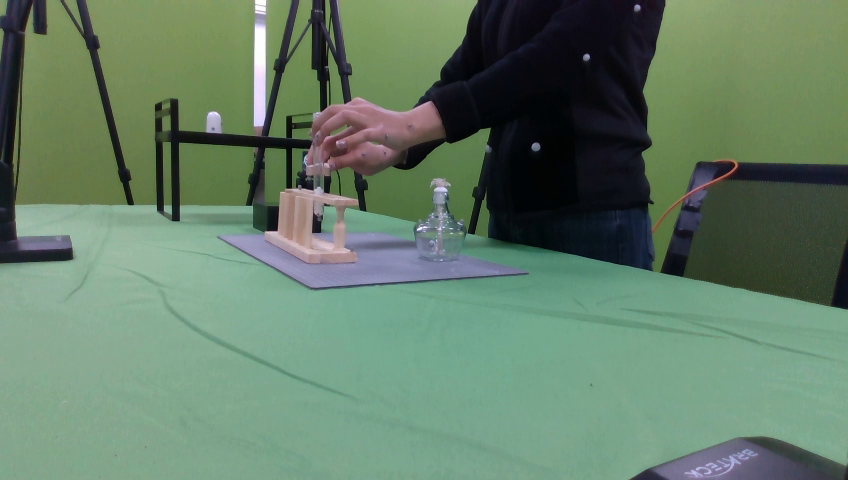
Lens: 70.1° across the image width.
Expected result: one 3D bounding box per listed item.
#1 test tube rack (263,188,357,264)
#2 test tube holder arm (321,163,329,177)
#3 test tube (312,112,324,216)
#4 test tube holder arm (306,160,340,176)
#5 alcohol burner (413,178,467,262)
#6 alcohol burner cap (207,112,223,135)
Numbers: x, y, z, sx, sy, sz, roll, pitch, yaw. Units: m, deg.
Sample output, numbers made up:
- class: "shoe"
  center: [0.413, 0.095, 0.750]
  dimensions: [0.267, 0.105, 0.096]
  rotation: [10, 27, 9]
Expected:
- class: "test tube rack"
  center: [-0.175, -0.028, 0.890]
  dimensions: [0.067, 0.085, 0.241]
  rotation: [-1, 8, -28]
- class: "test tube holder arm"
  center: [-0.151, -0.107, 0.916]
  dimensions: [0.010, 0.015, 0.087]
  rotation: [4, 12, -13]
- class: "test tube"
  center: [-0.154, -0.110, 0.877]
  dimensions: [0.017, 0.150, 0.017]
  rotation: [0, 0, 0]
- class: "test tube holder arm"
  center: [-0.158, -0.116, 0.959]
  dimensions: [0.013, 0.015, 0.178]
  rotation: [8, 11, 2]
- class: "alcohol burner"
  center: [0.022, -0.029, 0.864]
  dimensions: [0.078, 0.119, 0.078]
  rotation: [1, 6, 0]
- class: "alcohol burner cap"
  center: [-0.440, -0.245, 1.271]
  dimensions: [0.034, 0.048, 0.034]
  rotation: [2, 8, 0]
